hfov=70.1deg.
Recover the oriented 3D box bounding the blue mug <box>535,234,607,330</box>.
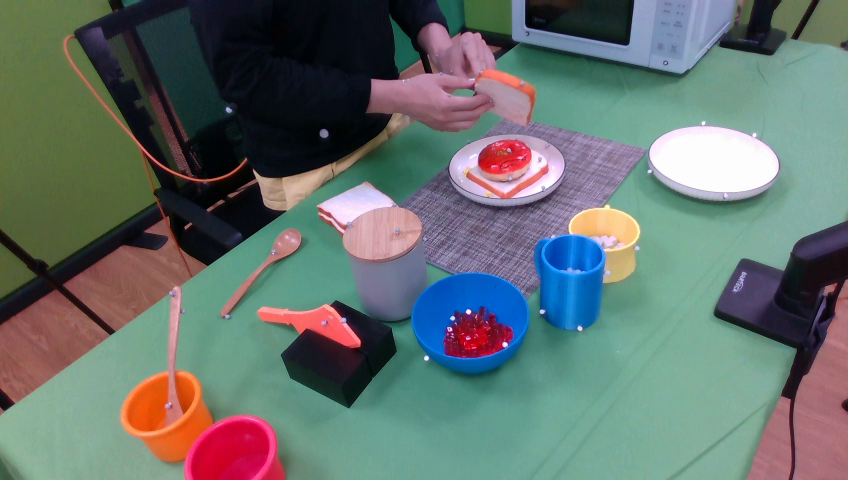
[{"bbox_3d":[0.190,0.048,0.824,0.082,0.106,0.115,-26,44,-20],"label":"blue mug"}]

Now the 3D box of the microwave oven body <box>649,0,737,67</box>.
[{"bbox_3d":[0.475,-0.602,1.411,0.438,0.261,0.327,23,50,32],"label":"microwave oven body"}]

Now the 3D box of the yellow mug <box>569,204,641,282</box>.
[{"bbox_3d":[0.268,-0.005,0.904,0.099,0.064,0.130,7,41,15],"label":"yellow mug"}]

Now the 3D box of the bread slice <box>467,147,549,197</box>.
[{"bbox_3d":[0.156,-0.128,1.084,0.132,0.019,0.104,-35,48,-24],"label":"bread slice"}]

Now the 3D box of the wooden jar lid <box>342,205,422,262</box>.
[{"bbox_3d":[-0.055,-0.006,0.808,0.108,0.021,0.108,-6,40,6],"label":"wooden jar lid"}]

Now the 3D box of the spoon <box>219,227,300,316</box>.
[{"bbox_3d":[-0.261,0.046,0.954,0.041,0.021,0.194,27,48,10],"label":"spoon"}]

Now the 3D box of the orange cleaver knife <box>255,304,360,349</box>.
[{"bbox_3d":[-0.161,0.115,0.813,0.210,0.077,0.012,-4,32,47],"label":"orange cleaver knife"}]

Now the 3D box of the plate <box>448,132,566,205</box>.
[{"bbox_3d":[0.146,-0.124,1.075,0.209,0.038,0.208,-3,41,3],"label":"plate"}]

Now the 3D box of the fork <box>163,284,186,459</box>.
[{"bbox_3d":[-0.302,0.157,0.733,0.028,0.019,0.207,-3,84,15],"label":"fork"}]

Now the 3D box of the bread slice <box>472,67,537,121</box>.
[{"bbox_3d":[0.131,-0.235,0.975,0.107,0.134,0.018,22,83,2],"label":"bread slice"}]

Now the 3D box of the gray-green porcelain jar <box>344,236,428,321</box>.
[{"bbox_3d":[-0.049,0.042,0.849,0.106,0.127,0.105,-4,41,4],"label":"gray-green porcelain jar"}]

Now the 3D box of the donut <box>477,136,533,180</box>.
[{"bbox_3d":[0.141,-0.145,1.058,0.099,0.048,0.098,-6,42,6],"label":"donut"}]

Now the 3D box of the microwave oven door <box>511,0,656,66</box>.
[{"bbox_3d":[0.350,-0.539,1.348,0.353,0.245,0.039,24,50,31],"label":"microwave oven door"}]

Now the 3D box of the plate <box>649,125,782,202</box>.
[{"bbox_3d":[0.493,-0.127,1.036,0.207,0.039,0.206,-4,41,4],"label":"plate"}]

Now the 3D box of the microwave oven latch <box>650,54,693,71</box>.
[{"bbox_3d":[0.531,-0.386,1.301,0.078,0.029,0.030,26,51,33],"label":"microwave oven latch"}]

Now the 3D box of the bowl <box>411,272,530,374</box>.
[{"bbox_3d":[0.061,0.120,0.780,0.151,0.077,0.150,-4,40,4],"label":"bowl"}]
